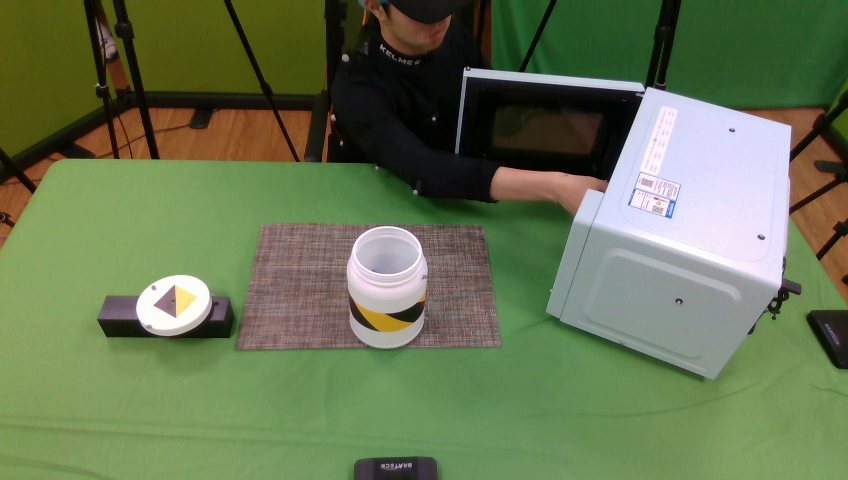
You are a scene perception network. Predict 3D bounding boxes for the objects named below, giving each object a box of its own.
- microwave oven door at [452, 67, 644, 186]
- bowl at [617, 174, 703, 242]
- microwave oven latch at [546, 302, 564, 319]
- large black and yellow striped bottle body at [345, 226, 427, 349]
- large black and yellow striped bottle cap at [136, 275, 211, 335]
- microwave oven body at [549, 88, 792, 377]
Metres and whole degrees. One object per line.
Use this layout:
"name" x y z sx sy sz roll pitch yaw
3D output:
"microwave oven door" 0.246 -0.230 1.260 0.356 0.245 0.039 5 46 1
"bowl" 0.434 -0.050 1.134 0.151 0.077 0.150 -4 38 4
"microwave oven latch" 0.242 0.102 1.081 0.030 0.029 0.079 21 48 17
"large black and yellow striped bottle body" -0.062 0.078 0.998 0.131 0.185 0.130 2 46 -2
"large black and yellow striped bottle cap" -0.412 0.105 0.998 0.115 0.019 0.114 3 46 -3
"microwave oven body" 0.456 -0.028 1.088 0.325 0.261 0.440 20 47 16
